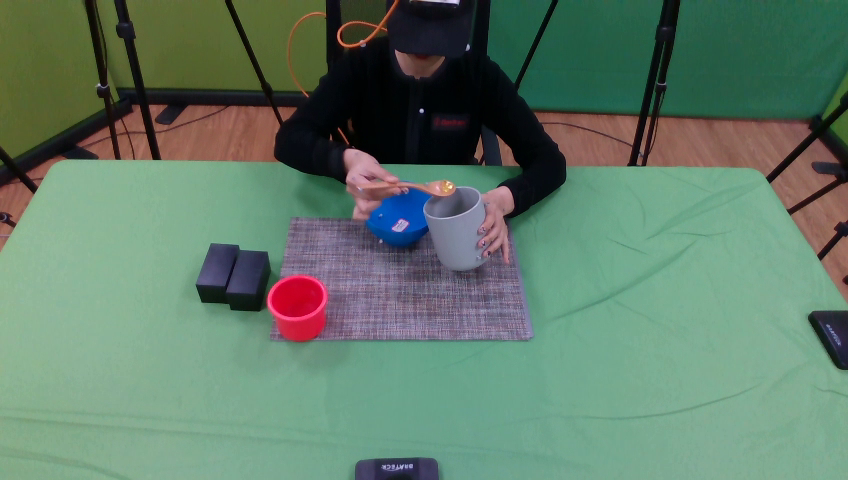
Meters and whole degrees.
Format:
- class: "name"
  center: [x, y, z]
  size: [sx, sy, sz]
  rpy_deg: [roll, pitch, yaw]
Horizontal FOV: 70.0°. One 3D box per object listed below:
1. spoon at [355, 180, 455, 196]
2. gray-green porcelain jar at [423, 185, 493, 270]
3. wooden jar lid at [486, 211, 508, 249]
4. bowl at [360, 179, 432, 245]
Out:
- class: "spoon"
  center: [-0.029, -0.092, 1.023]
  size: [0.194, 0.022, 0.041]
  rpy_deg: [1, 46, -36]
- class: "gray-green porcelain jar"
  center: [0.065, -0.018, 1.086]
  size: [0.106, 0.127, 0.105]
  rpy_deg: [-13, 33, 9]
- class: "wooden jar lid"
  center: [0.115, -0.018, 1.220]
  size: [0.108, 0.021, 0.107]
  rpy_deg: [3, 47, -3]
- class: "bowl"
  center: [-0.049, -0.042, 1.190]
  size: [0.151, 0.077, 0.150]
  rpy_deg: [2, 46, -2]
